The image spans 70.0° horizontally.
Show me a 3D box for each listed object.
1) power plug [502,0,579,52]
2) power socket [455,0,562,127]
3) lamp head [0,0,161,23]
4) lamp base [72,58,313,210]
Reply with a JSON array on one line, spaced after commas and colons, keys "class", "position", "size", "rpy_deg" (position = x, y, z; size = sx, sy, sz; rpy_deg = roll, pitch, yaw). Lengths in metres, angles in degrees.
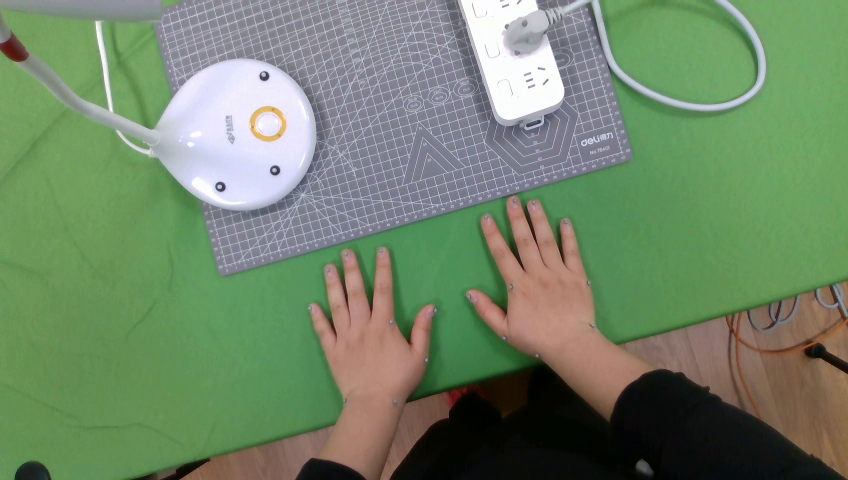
[{"class": "power plug", "position": [0.112, -0.204, 0.589], "size": [0.072, 0.052, 0.035], "rpy_deg": [-7, 90, 3]}, {"class": "power socket", "position": [0.076, -0.226, 0.611], "size": [0.072, 0.032, 0.226], "rpy_deg": [-18, 87, 4]}, {"class": "lamp head", "position": [-0.186, -0.148, 0.264], "size": [0.123, 0.112, 0.112], "rpy_deg": [-13, 88, -17]}, {"class": "lamp base", "position": [-0.214, -0.109, 0.562], "size": [0.179, 0.180, 0.160], "rpy_deg": [-20, 87, 8]}]
